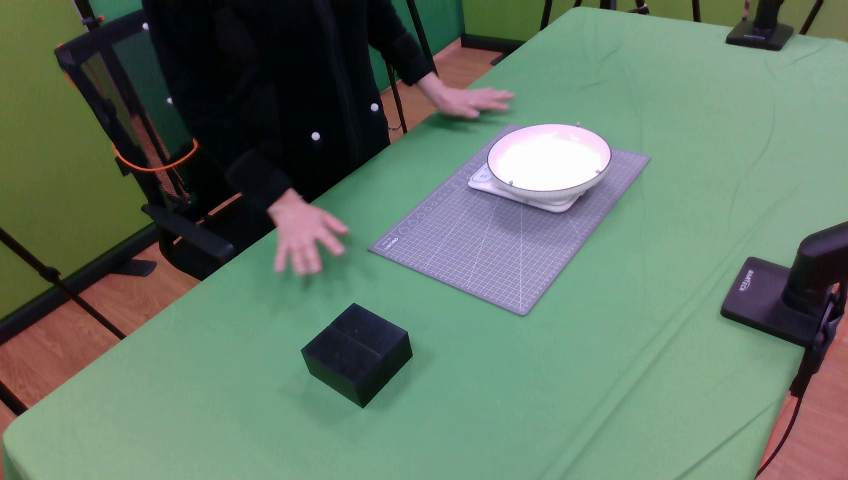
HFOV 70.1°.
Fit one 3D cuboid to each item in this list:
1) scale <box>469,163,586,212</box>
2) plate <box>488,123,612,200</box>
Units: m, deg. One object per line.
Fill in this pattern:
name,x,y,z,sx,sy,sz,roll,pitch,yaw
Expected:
scale,0.194,-0.117,1.075,0.199,0.032,0.149,21,48,32
plate,0.213,-0.132,1.037,0.209,0.038,0.208,-5,41,5
